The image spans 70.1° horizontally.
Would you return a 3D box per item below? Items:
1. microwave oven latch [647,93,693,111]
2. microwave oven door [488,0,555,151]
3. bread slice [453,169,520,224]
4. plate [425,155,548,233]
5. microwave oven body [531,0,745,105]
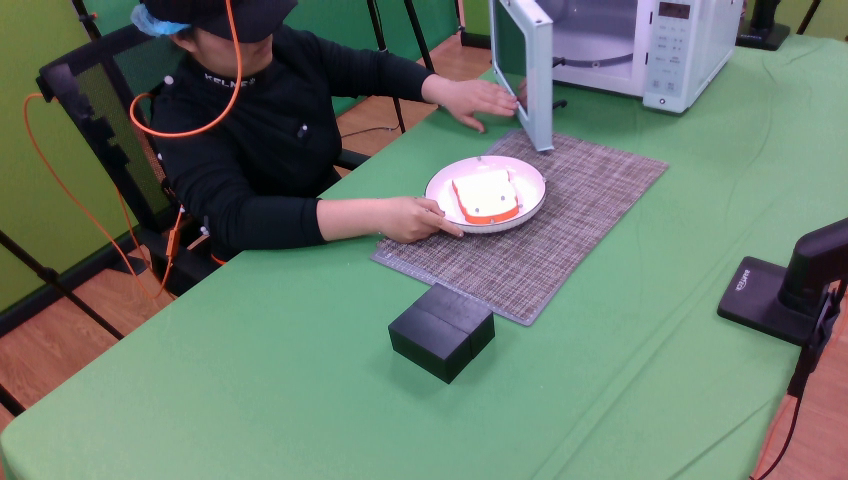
[{"bbox_3d":[0.477,-0.273,1.177,0.078,0.029,0.030,23,50,34],"label":"microwave oven latch"},{"bbox_3d":[0.187,-0.369,1.189,0.039,0.245,0.353,-12,40,-2],"label":"microwave oven door"},{"bbox_3d":[0.112,-0.076,1.040,0.105,0.019,0.130,-11,40,-1],"label":"bread slice"},{"bbox_3d":[0.108,-0.076,1.038,0.209,0.038,0.208,-5,39,5],"label":"plate"},{"bbox_3d":[0.416,-0.486,1.290,0.438,0.261,0.327,21,50,33],"label":"microwave oven body"}]
